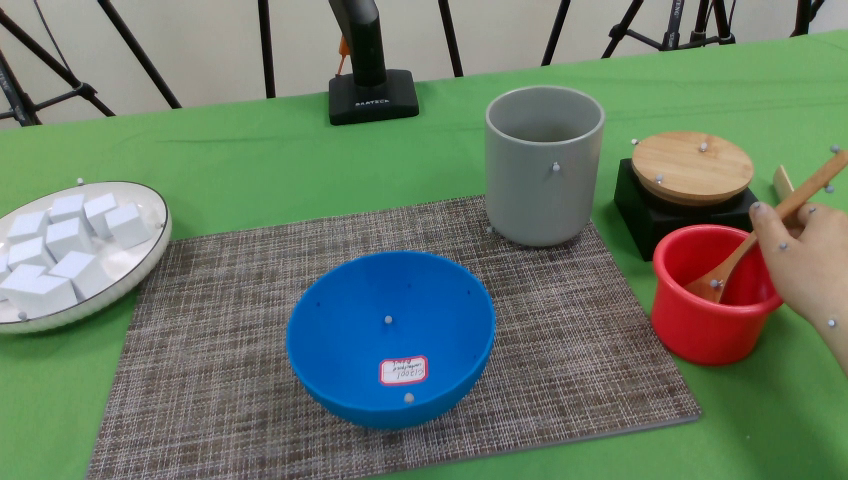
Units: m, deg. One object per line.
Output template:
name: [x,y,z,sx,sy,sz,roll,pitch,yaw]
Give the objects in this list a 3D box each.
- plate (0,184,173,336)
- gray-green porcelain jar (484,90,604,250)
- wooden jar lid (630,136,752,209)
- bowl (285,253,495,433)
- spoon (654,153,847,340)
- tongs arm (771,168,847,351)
plate: [-0.353,0.019,0.602,0.209,0.038,0.207,-3,41,3]
gray-green porcelain jar: [0.110,-0.062,0.578,0.106,0.128,0.105,-3,41,3]
wooden jar lid: [0.252,-0.064,0.577,0.108,0.021,0.107,-3,41,3]
bowl: [-0.021,0.088,0.455,0.151,0.077,0.150,-3,41,3]
spoon: [0.257,0.007,0.476,0.022,0.194,0.041,28,19,-32]
tongs arm: [0.352,0.059,0.496,0.028,0.028,0.384,3,42,6]
